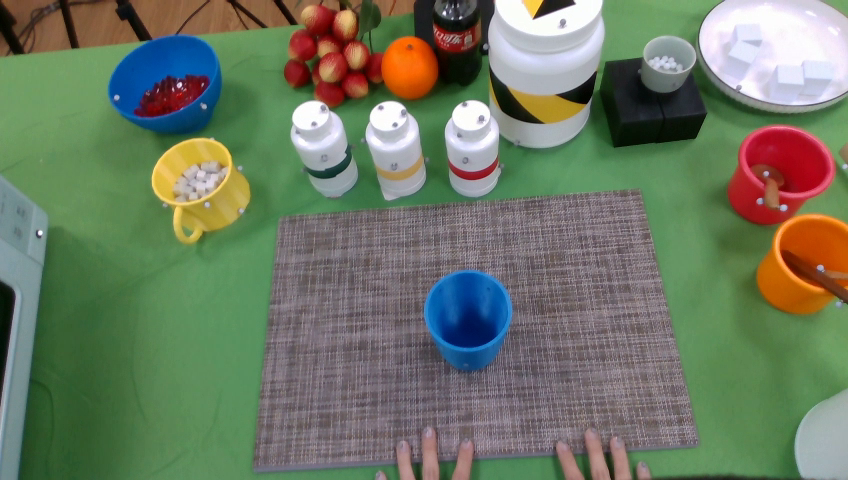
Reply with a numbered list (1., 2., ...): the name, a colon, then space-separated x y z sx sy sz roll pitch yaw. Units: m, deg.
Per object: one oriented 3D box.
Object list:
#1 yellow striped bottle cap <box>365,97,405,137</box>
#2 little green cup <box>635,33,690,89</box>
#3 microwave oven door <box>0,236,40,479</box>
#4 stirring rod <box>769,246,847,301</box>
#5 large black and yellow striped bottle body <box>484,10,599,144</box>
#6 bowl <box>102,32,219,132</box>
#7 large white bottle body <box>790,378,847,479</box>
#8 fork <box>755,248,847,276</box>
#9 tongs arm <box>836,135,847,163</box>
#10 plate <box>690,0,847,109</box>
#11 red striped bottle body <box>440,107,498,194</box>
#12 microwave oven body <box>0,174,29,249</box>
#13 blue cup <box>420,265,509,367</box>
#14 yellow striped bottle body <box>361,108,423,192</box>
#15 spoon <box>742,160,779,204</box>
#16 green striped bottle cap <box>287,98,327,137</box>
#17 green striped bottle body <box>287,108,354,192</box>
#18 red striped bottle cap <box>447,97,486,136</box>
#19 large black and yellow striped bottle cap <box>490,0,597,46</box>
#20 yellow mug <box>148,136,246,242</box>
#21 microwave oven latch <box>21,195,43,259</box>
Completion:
1. yellow striped bottle cap: -0.044 -0.139 0.685 0.044 0.019 0.044 -2 63 4
2. little green cup: 0.288 -0.216 0.739 0.061 0.039 0.061 -2 60 4
3. microwave oven door: -0.463 0.126 0.558 0.039 0.246 0.352 -13 61 0
4. stirring rod: 0.390 0.036 0.596 0.014 0.006 0.175 -3 18 3
5. large black and yellow striped bottle body: 0.138 -0.219 0.731 0.130 0.185 0.129 -3 62 5
6. bowl: -0.347 -0.202 0.833 0.151 0.077 0.150 -2 62 4
7. large white bottle body: 0.407 0.164 0.497 0.130 0.186 0.129 -2 61 5
8. fork: 0.419 0.034 0.586 0.028 0.019 0.206 -40 21 -14
9. tongs arm: 0.566 0.037 0.633 0.051 0.027 0.381 -15 62 -4
10. plate: 0.456 -0.251 0.797 0.209 0.038 0.207 -2 62 5
11. red striped bottle body: 0.054 -0.112 0.719 0.063 0.121 0.062 -4 60 8
12. microwave oven body: -0.614 0.124 0.580 0.326 0.262 0.437 -13 62 -1
13. blue cup: 0.042 0.086 0.621 0.092 0.101 0.092 -2 61 3
14. yellow striped bottle body: -0.039 -0.115 0.730 0.063 0.121 0.062 -3 62 6
15. spoon: 0.362 -0.064 0.647 0.041 0.194 0.022 26 113 19
16. green striped bottle cap: -0.134 -0.141 0.695 0.044 0.020 0.044 -2 61 3
17. green striped bottle body: -0.127 -0.116 0.741 0.063 0.120 0.062 -2 62 5
18. red striped bottle cap: 0.048 -0.138 0.674 0.044 0.018 0.044 -1 60 2
19. large black and yellow striped bottle cap: 0.128 -0.258 0.657 0.115 0.019 0.114 -3 61 5
20. yellow mug: -0.287 -0.059 0.757 0.100 0.064 0.130 5 63 8
21. microwave oven latch: -0.495 -0.014 0.751 0.030 0.030 0.078 -12 62 -1
